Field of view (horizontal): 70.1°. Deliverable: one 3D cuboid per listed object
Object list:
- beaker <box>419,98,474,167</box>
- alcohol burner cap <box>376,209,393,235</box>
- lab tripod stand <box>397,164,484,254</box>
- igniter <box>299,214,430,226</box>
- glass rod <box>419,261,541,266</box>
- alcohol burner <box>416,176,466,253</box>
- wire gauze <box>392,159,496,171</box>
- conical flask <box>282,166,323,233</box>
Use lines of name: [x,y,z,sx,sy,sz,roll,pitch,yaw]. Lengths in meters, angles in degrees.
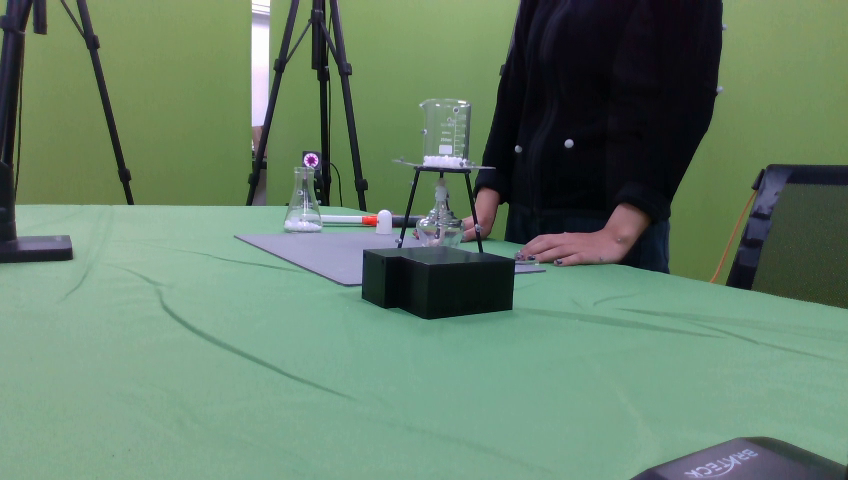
beaker: [0.032,-0.161,0.913,0.084,0.100,0.074,1,7,-10]
alcohol burner cap: [-0.075,-0.035,1.150,0.034,0.048,0.034,2,7,0]
lab tripod stand: [0.029,-0.049,0.930,0.148,0.131,0.148,4,7,0]
igniter: [-0.123,-0.044,1.281,0.278,0.025,0.057,0,-2,-19]
glass rod: [0.080,0.032,0.808,0.201,0.008,0.008,1,6,-32]
alcohol burner: [0.027,-0.039,0.935,0.078,0.119,0.078,2,9,0]
wire gauze: [0.032,-0.114,0.923,0.124,0.011,0.122,5,5,32]
conical flask: [-0.225,-0.076,1.129,0.075,0.122,0.075,2,8,0]
